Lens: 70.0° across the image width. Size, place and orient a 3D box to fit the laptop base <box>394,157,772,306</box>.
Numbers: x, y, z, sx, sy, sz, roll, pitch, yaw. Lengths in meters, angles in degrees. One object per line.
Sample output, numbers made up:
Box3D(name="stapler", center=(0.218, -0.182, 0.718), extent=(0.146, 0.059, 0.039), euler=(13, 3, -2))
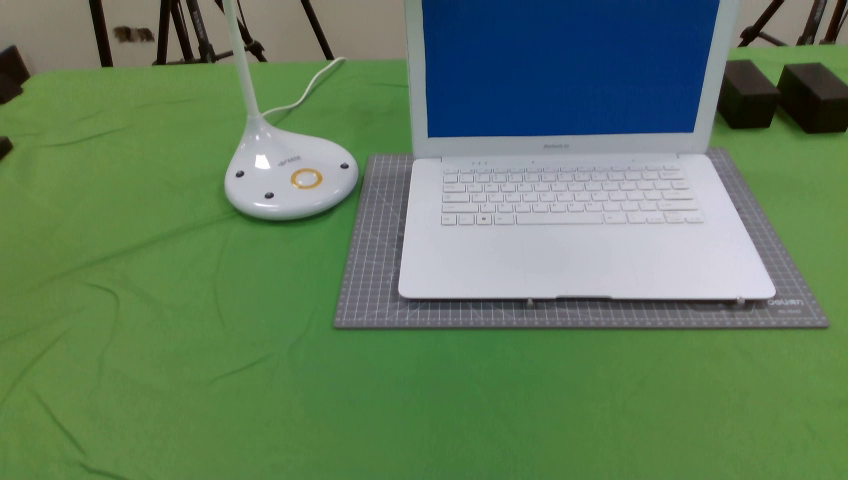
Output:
Box3D(name="laptop base", center=(0.152, -0.014, 0.654), extent=(0.354, 0.023, 0.233), euler=(-1, 44, 3))

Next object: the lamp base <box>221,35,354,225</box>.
Box3D(name="lamp base", center=(-0.178, -0.134, 0.695), extent=(0.177, 0.182, 0.160), euler=(26, 49, 34))

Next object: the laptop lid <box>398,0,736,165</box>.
Box3D(name="laptop lid", center=(0.151, -0.191, 0.678), extent=(0.356, 0.244, 0.013), euler=(-2, 33, 4))
